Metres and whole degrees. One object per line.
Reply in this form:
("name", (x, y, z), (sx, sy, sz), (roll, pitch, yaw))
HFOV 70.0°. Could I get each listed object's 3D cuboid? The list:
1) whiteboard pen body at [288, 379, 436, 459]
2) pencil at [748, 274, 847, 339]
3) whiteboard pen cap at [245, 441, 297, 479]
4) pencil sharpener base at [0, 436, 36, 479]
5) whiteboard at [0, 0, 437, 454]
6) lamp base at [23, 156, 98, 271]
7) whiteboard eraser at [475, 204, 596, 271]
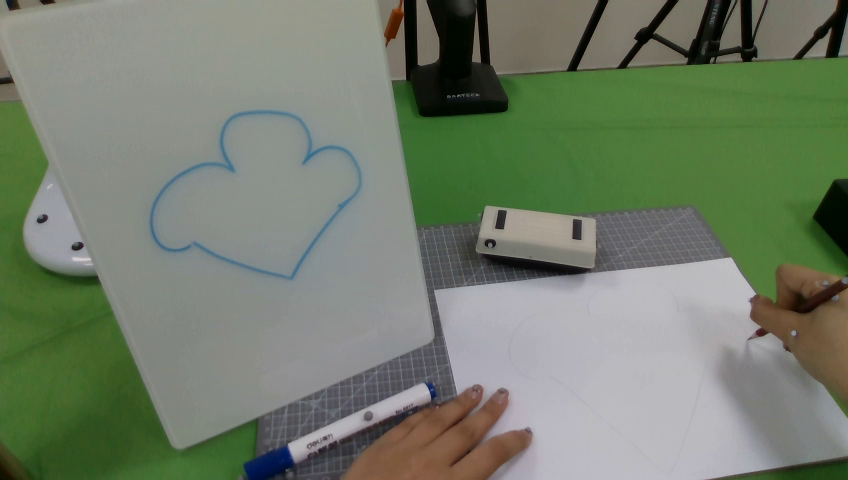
("whiteboard pen body", (-0.055, 0.135, 0.445), (0.141, 0.017, 0.017), (-19, 46, -19))
("pencil", (0.287, 0.041, 0.438), (0.012, 0.195, 0.012), (1, 63, -2))
("whiteboard pen cap", (-0.107, 0.154, 0.424), (0.033, 0.018, 0.018), (-20, 47, -20))
("pencil sharpener base", (-0.291, 0.150, 0.364), (0.061, 0.108, 0.076), (31, 51, 28))
("whiteboard", (-0.136, -0.037, 0.469), (0.217, 0.308, 0.142), (-20, 27, -20))
("lamp base", (-0.325, -0.088, 0.567), (0.178, 0.182, 0.160), (23, 47, 25))
("whiteboard eraser", (0.109, -0.002, 0.587), (0.112, 0.042, 0.055), (8, 44, 7))
